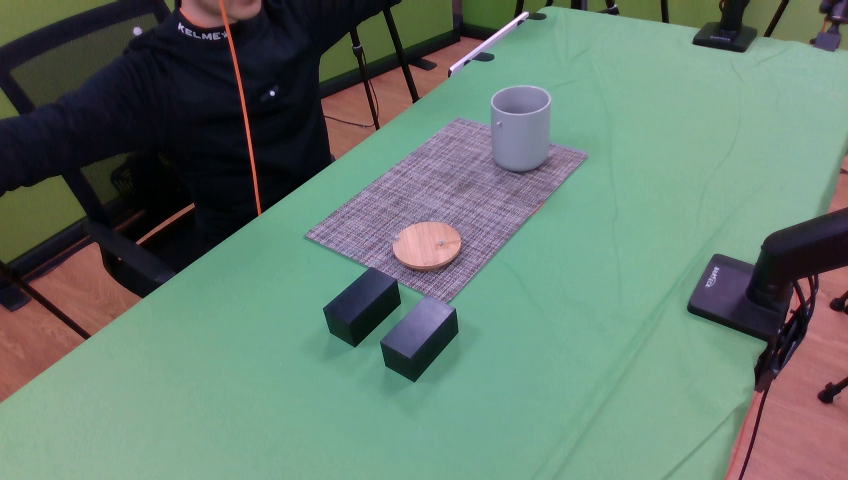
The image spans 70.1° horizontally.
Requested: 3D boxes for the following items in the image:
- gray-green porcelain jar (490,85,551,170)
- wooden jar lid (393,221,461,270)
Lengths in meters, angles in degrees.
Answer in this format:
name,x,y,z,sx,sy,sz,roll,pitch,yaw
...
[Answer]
name,x,y,z,sx,sy,sz,roll,pitch,yaw
gray-green porcelain jar,0.173,-0.198,1.087,0.106,0.127,0.105,-4,41,4
wooden jar lid,0.005,0.010,0.952,0.108,0.021,0.108,-4,40,4
